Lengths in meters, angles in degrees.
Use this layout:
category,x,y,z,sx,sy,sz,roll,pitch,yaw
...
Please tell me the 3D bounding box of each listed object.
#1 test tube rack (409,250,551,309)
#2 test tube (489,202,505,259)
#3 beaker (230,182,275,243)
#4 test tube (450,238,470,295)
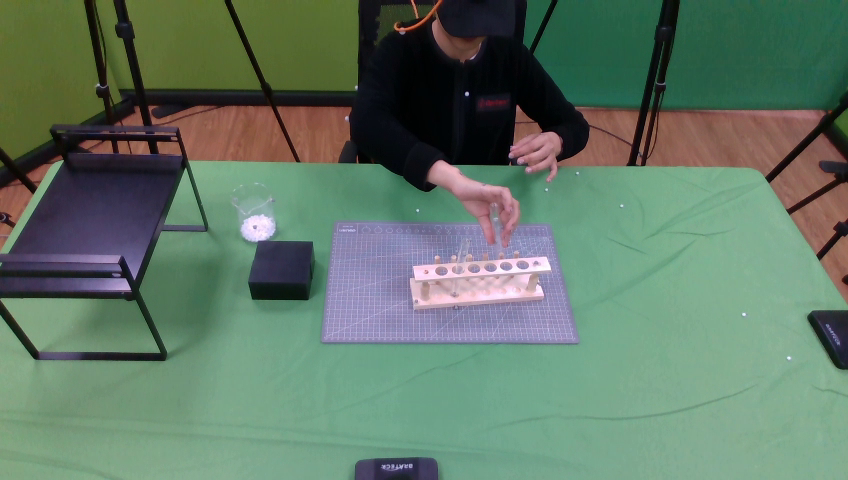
category,x,y,z,sx,sy,sz,roll,pitch,yaw
test tube rack,0.098,0.065,1.096,0.243,0.085,0.066,-4,47,-8
test tube,0.127,-0.010,1.048,0.017,0.151,0.017,-7,46,7
beaker,-0.328,-0.049,1.166,0.074,0.101,0.083,2,47,-2
test tube,0.060,0.048,1.040,0.017,0.151,0.017,3,51,-4
